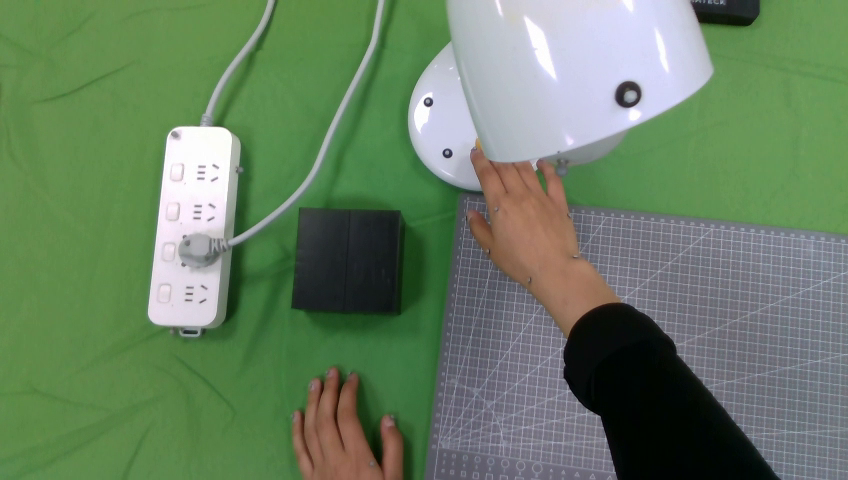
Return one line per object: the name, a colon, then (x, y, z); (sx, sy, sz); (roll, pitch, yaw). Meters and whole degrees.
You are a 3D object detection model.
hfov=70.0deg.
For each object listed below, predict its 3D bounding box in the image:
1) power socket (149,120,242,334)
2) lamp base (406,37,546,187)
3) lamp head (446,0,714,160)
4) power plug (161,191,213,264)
power socket: (-0.236, -0.017, 0.632); (0.072, 0.033, 0.226); (2, 80, 2)
lamp base: (0.052, -0.158, 0.568); (0.160, 0.181, 0.178); (-22, 77, -1)
lamp head: (0.058, -0.113, 0.278); (0.112, 0.112, 0.123); (-25, 103, -1)
power plug: (-0.235, -0.011, 0.608); (0.035, 0.053, 0.072); (-13, 74, -16)
